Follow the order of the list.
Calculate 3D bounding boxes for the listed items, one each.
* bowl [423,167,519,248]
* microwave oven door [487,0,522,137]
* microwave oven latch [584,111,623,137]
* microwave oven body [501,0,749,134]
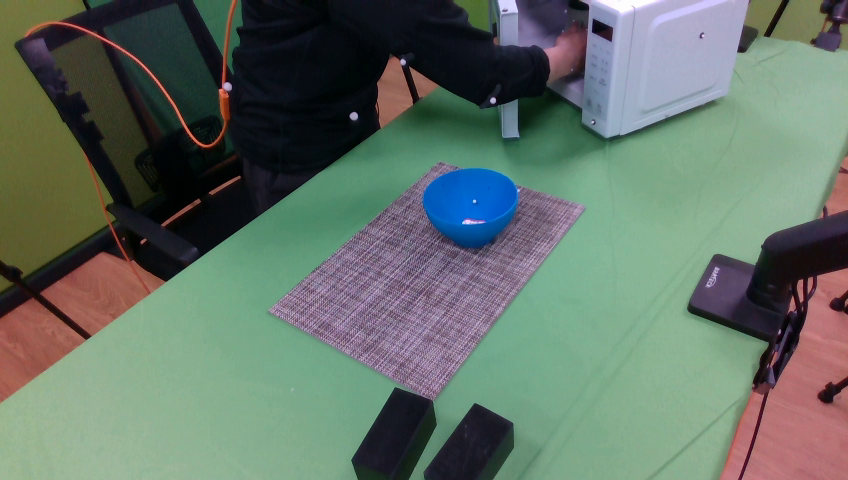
[{"bbox_3d":[0.075,-0.041,0.958,0.151,0.077,0.150,-4,40,4],"label":"bowl"},{"bbox_3d":[0.158,-0.405,1.222,0.039,0.245,0.354,-5,41,5],"label":"microwave oven door"},{"bbox_3d":[0.337,-0.222,1.142,0.030,0.029,0.078,-21,42,-14],"label":"microwave oven latch"},{"bbox_3d":[0.382,-0.445,1.246,0.327,0.261,0.437,-22,42,-16],"label":"microwave oven body"}]
